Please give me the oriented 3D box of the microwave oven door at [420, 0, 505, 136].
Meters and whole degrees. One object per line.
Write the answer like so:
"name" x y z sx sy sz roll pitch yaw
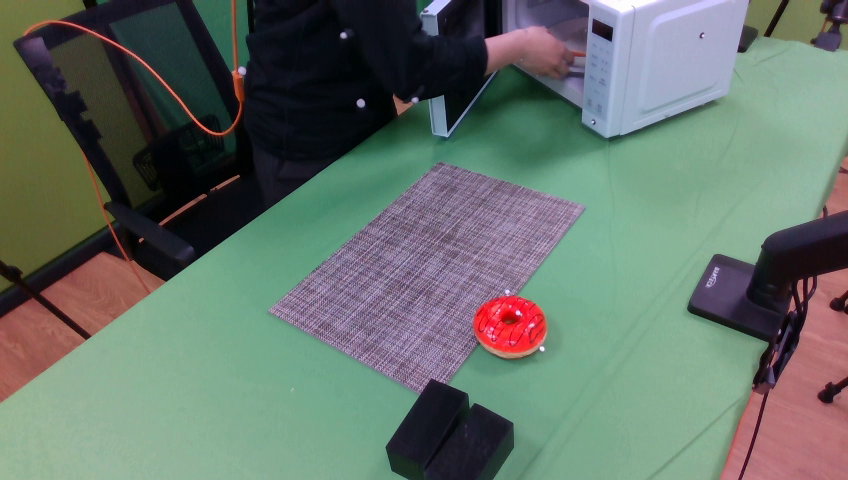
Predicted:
"microwave oven door" 0.089 -0.408 1.237 0.039 0.245 0.356 12 45 21

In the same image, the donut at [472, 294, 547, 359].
"donut" 0.114 0.114 0.803 0.099 0.048 0.098 0 40 1

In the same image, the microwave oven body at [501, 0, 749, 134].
"microwave oven body" 0.382 -0.444 1.246 0.327 0.261 0.437 -22 42 -16

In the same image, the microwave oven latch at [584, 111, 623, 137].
"microwave oven latch" 0.337 -0.222 1.142 0.030 0.029 0.078 -21 42 -14
